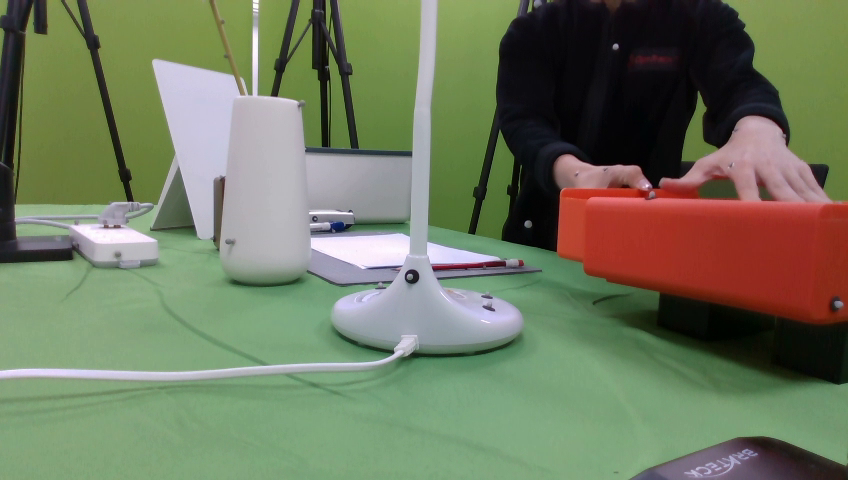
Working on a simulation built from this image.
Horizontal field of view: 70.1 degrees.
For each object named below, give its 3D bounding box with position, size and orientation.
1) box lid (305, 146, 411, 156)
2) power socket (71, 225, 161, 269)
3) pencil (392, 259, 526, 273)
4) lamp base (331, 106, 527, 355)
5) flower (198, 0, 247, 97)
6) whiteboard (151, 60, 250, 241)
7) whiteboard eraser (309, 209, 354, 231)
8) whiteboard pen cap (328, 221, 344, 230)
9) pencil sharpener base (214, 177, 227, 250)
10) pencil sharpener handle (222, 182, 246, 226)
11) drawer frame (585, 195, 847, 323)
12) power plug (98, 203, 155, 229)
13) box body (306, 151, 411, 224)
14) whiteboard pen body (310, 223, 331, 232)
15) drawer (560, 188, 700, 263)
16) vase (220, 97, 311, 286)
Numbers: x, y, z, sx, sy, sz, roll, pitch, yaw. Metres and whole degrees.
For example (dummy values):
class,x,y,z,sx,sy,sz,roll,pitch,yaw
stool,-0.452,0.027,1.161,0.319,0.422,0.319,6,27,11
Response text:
class,x,y,z,sx,sy,sz,roll,pitch,yaw
box lid,-0.229,-0.200,1.361,0.373,0.015,0.262,-3,9,-33
power socket,-0.408,0.004,0.793,0.072,0.032,0.225,-2,8,-38
pencil,0.049,0.035,0.782,0.195,0.012,0.012,-2,9,-25
lamp base,0.006,-0.012,0.478,0.161,0.180,0.179,2,10,2
flower,-0.187,-0.133,0.648,0.038,0.362,0.044,-1,22,43
whiteboard,-0.408,-0.140,1.094,0.143,0.305,0.218,-15,0,26
whiteboard eraser,-0.196,-0.038,1.167,0.113,0.042,0.055,-2,7,-33
whiteboard pen cap,-0.166,-0.027,1.124,0.018,0.018,0.033,9,11,41
pencil sharpener base,-0.265,-0.036,0.870,0.061,0.107,0.076,-2,8,-29
pencil sharpener handle,-0.289,-0.055,0.912,0.036,0.067,0.030,-3,9,-29
drawer frame,0.284,0.004,0.511,0.203,0.082,0.212,0,5,-27
power plug,-0.416,-0.026,0.848,0.073,0.052,0.035,1,7,-28
box body,-0.230,-0.126,1.371,0.366,0.160,0.253,-2,8,-33
whiteboard pen body,-0.207,-0.021,1.081,0.017,0.017,0.141,9,10,41
drawer,0.264,-0.007,0.546,0.195,0.073,0.211,-1,7,-27
vase,-0.172,-0.052,0.662,0.098,0.200,0.098,3,8,0
